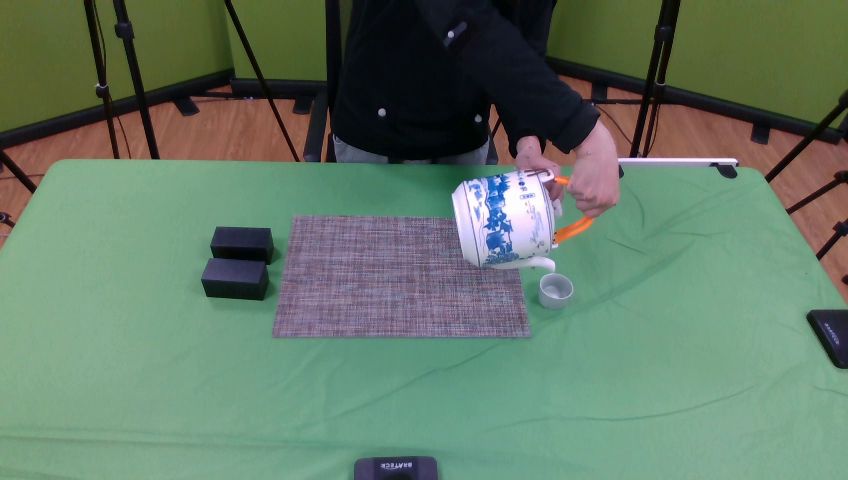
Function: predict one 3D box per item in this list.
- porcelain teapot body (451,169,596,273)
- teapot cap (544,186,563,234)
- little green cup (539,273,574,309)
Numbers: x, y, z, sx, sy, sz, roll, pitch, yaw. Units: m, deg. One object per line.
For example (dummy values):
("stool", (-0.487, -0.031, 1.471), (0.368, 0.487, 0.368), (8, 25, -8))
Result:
("porcelain teapot body", (0.169, -0.019, 1.012), (0.225, 0.206, 0.144), (-11, 37, 2))
("teapot cap", (0.204, -0.048, 0.990), (0.044, 0.085, 0.084), (-9, 46, 1))
("little green cup", (0.240, 0.096, 1.113), (0.061, 0.039, 0.061), (3, 47, -2))
